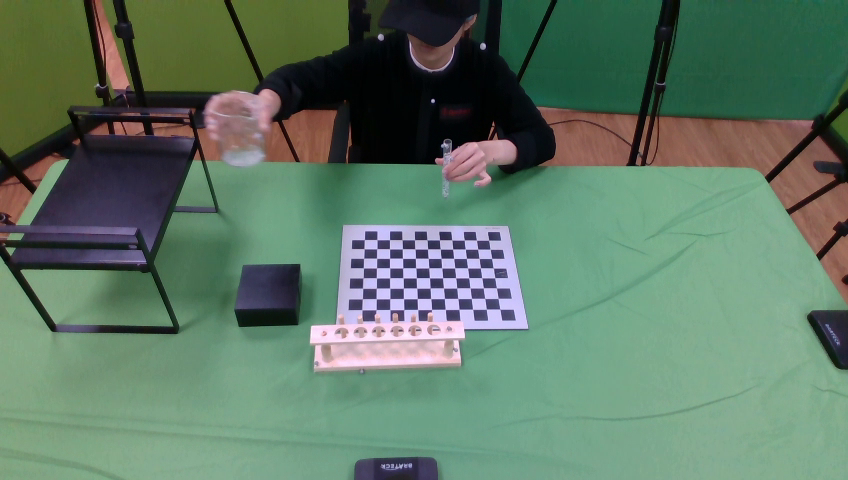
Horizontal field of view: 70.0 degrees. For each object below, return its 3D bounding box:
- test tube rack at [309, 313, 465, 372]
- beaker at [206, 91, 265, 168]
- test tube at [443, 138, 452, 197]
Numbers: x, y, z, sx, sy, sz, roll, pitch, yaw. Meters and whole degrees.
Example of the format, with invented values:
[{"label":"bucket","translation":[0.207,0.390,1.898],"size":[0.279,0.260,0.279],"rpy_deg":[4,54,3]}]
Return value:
[{"label":"test tube rack","translation":[-0.059,0.161,0.990],"size":[0.242,0.085,0.066],"rpy_deg":[-1,46,-5]},{"label":"beaker","translation":[-0.289,-0.169,0.949],"size":[0.083,0.101,0.074],"rpy_deg":[32,50,26]},{"label":"test tube","translation":[0.045,-0.136,1.165],"size":[0.017,0.151,0.017],"rpy_deg":[0,52,0]}]
